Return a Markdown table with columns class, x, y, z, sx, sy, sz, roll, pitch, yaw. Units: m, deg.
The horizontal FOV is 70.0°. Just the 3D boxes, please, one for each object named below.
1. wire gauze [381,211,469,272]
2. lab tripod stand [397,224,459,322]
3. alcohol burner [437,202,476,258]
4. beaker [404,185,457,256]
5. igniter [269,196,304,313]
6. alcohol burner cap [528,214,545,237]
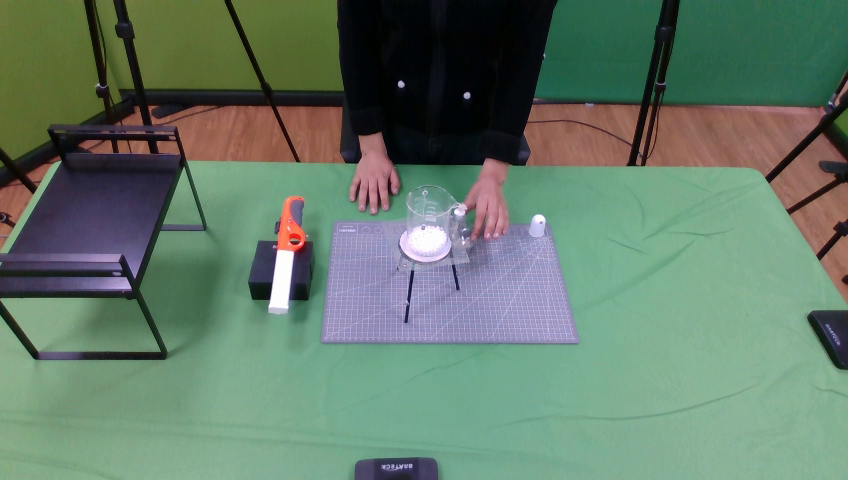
| class | x | y | z | sx | sy | sz | roll | pitch | yaw |
| --- | --- | --- | --- | --- | --- | --- | --- | --- | --- |
| wire gauze | 0.000 | 0.001 | 1.024 | 0.125 | 0.011 | 0.120 | -11 | 48 | -12 |
| lab tripod stand | -0.003 | 0.052 | 1.067 | 0.148 | 0.132 | 0.147 | 3 | 48 | -3 |
| alcohol burner | 0.064 | -0.024 | 1.159 | 0.078 | 0.119 | 0.077 | 2 | 44 | -2 |
| beaker | 0.009 | -0.029 | 0.988 | 0.084 | 0.101 | 0.073 | -1 | 47 | -5 |
| igniter | -0.249 | 0.016 | 1.095 | 0.057 | 0.025 | 0.274 | 8 | 46 | -13 |
| alcohol burner cap | 0.231 | -0.032 | 1.230 | 0.034 | 0.048 | 0.033 | 2 | 46 | -1 |
